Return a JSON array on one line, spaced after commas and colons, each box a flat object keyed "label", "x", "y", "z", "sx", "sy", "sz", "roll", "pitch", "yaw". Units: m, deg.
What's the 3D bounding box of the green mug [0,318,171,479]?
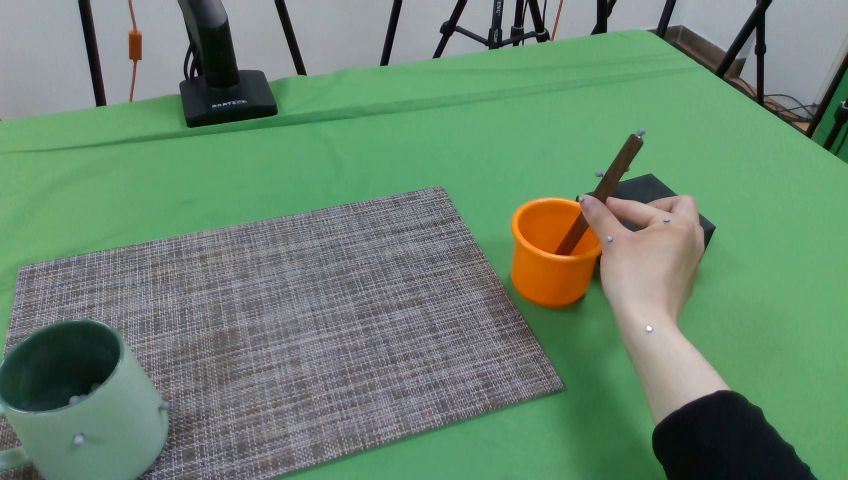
[{"label": "green mug", "x": -0.253, "y": 0.124, "z": 0.425, "sx": 0.125, "sy": 0.106, "sz": 0.091, "roll": -21, "pitch": 47, "yaw": -23}]

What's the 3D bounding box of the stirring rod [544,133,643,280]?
[{"label": "stirring rod", "x": 0.149, "y": -0.024, "z": 0.550, "sx": 0.006, "sy": 0.177, "sz": 0.014, "roll": -14, "pitch": 53, "yaw": -33}]
